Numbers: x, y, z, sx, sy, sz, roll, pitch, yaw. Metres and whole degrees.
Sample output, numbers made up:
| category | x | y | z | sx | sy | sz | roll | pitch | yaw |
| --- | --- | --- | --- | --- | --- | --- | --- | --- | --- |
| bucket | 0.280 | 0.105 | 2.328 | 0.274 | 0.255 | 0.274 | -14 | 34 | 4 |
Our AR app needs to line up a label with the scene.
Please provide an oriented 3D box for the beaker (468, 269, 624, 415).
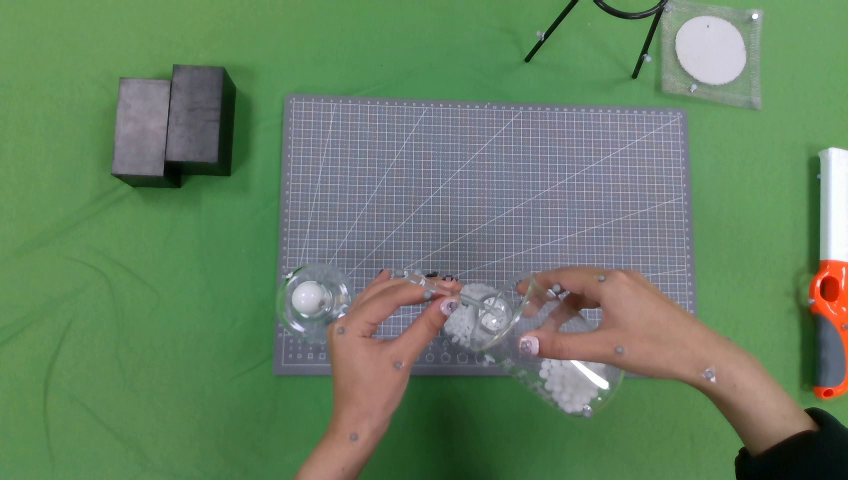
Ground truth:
| category | x | y | z | sx | sy | sz | roll | pitch | yaw |
| --- | --- | --- | --- | --- | --- | --- | --- | --- | --- |
| beaker | 0.094 | 0.081 | 0.468 | 0.100 | 0.084 | 0.074 | 37 | 84 | -8 |

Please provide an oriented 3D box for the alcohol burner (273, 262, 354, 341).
| category | x | y | z | sx | sy | sz | roll | pitch | yaw |
| --- | --- | --- | --- | --- | --- | --- | --- | --- | --- |
| alcohol burner | -0.107 | 0.057 | 0.576 | 0.078 | 0.119 | 0.077 | 0 | 81 | -2 |

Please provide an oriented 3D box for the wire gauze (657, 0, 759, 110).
| category | x | y | z | sx | sy | sz | roll | pitch | yaw |
| --- | --- | --- | --- | --- | --- | --- | --- | --- | --- |
| wire gauze | 0.330 | -0.219 | 0.704 | 0.125 | 0.011 | 0.121 | 7 | 82 | -5 |

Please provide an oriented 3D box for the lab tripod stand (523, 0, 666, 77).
| category | x | y | z | sx | sy | sz | roll | pitch | yaw |
| --- | --- | --- | --- | --- | --- | --- | --- | --- | --- |
| lab tripod stand | 0.184 | -0.239 | 0.632 | 0.148 | 0.131 | 0.148 | 0 | 84 | -3 |

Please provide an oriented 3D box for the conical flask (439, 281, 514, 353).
| category | x | y | z | sx | sy | sz | roll | pitch | yaw |
| --- | --- | --- | --- | --- | --- | --- | --- | --- | --- |
| conical flask | 0.056 | 0.072 | 0.582 | 0.075 | 0.122 | 0.075 | 1 | 81 | -4 |

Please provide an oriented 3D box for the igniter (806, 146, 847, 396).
| category | x | y | z | sx | sy | sz | roll | pitch | yaw |
| --- | --- | --- | --- | --- | --- | --- | --- | --- | --- |
| igniter | 0.447 | 0.032 | 0.667 | 0.057 | 0.025 | 0.275 | 8 | 82 | -14 |

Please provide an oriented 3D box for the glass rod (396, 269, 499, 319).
| category | x | y | z | sx | sy | sz | roll | pitch | yaw |
| --- | --- | --- | --- | --- | --- | --- | --- | --- | --- |
| glass rod | 0.025 | 0.045 | 0.467 | 0.008 | 0.201 | 0.008 | -7 | 73 | 23 |

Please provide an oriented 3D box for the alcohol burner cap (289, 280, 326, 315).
| category | x | y | z | sx | sy | sz | roll | pitch | yaw |
| --- | --- | --- | --- | --- | --- | --- | --- | --- | --- |
| alcohol burner cap | -0.105 | 0.051 | 0.540 | 0.034 | 0.048 | 0.034 | 1 | 85 | -7 |
